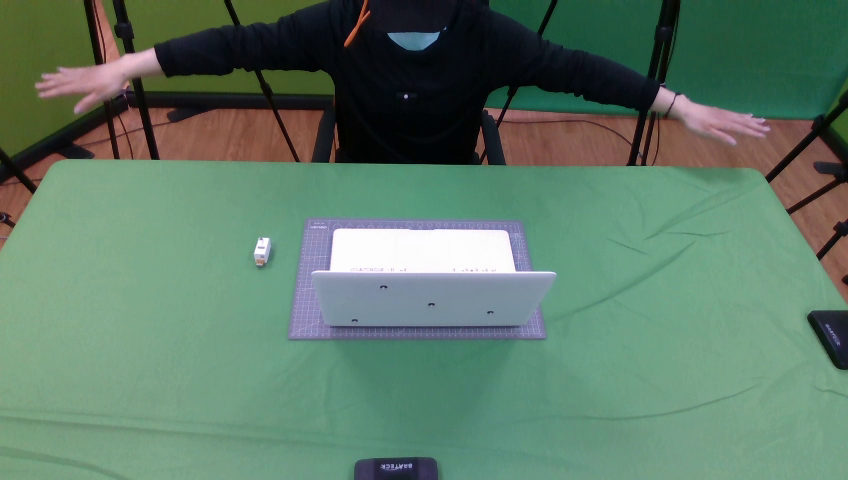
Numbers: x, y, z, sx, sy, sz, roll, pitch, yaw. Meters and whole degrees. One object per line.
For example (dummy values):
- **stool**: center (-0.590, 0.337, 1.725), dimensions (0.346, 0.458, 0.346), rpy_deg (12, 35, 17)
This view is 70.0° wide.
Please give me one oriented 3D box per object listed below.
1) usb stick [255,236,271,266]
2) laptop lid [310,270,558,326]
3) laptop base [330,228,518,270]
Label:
- **usb stick**: center (-0.306, 0.022, 1.148), dimensions (0.021, 0.027, 0.059), rpy_deg (3, 50, -1)
- **laptop lid**: center (0.011, 0.095, 0.948), dimensions (0.357, 0.242, 0.013), rpy_deg (1, 64, -5)
- **laptop base**: center (0.001, 0.063, 1.134), dimensions (0.354, 0.023, 0.234), rpy_deg (0, 43, -3)
